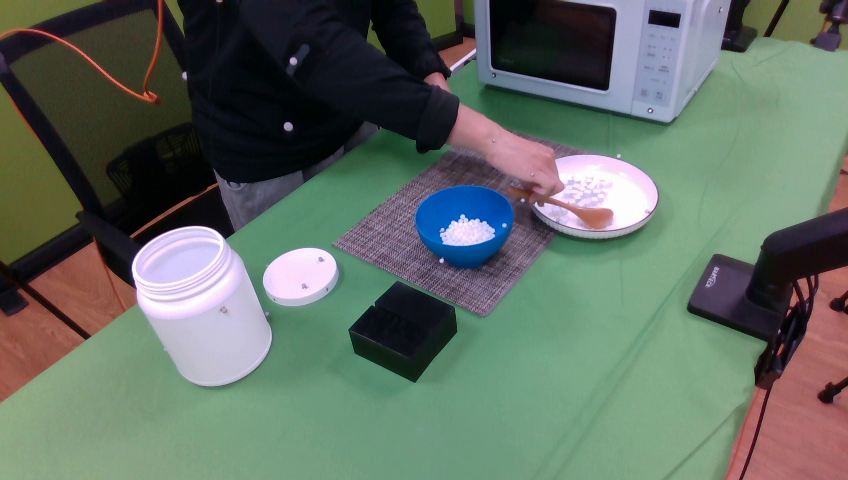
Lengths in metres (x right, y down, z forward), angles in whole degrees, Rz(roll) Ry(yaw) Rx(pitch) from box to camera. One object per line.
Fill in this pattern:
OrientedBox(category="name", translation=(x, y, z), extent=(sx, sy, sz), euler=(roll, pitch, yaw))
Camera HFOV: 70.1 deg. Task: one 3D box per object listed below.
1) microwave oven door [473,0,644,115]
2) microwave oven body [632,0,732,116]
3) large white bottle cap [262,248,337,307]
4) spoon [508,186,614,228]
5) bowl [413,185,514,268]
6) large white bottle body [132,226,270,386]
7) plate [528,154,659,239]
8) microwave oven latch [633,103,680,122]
OrientedBox(category="microwave oven door", translation=(0.257, -0.396, 1.199), extent=(0.353, 0.245, 0.039), euler=(21, 48, 29))
OrientedBox(category="microwave oven body", translation=(0.377, -0.462, 1.267), extent=(0.438, 0.261, 0.327), euler=(21, 49, 30))
OrientedBox(category="large white bottle cap", translation=(-0.193, 0.056, 0.934), extent=(0.115, 0.018, 0.114), euler=(-4, 41, 4))
OrientedBox(category="spoon", translation=(0.209, -0.053, 0.913), extent=(0.195, 0.041, 0.021), euler=(15, 38, -19))
OrientedBox(category="bowl", translation=(0.063, -0.010, 0.922), extent=(0.151, 0.077, 0.150), euler=(-4, 40, 4))
OrientedBox(category="large white bottle body", translation=(-0.286, 0.085, 0.784), extent=(0.130, 0.185, 0.130), euler=(-4, 41, 4))
OrientedBox(category="plate", translation=(0.274, -0.069, 0.993), extent=(0.209, 0.038, 0.208), euler=(-2, 42, 2))
OrientedBox(category="microwave oven latch", translation=(0.444, -0.249, 1.157), extent=(0.078, 0.029, 0.030), euler=(21, 49, 30))
